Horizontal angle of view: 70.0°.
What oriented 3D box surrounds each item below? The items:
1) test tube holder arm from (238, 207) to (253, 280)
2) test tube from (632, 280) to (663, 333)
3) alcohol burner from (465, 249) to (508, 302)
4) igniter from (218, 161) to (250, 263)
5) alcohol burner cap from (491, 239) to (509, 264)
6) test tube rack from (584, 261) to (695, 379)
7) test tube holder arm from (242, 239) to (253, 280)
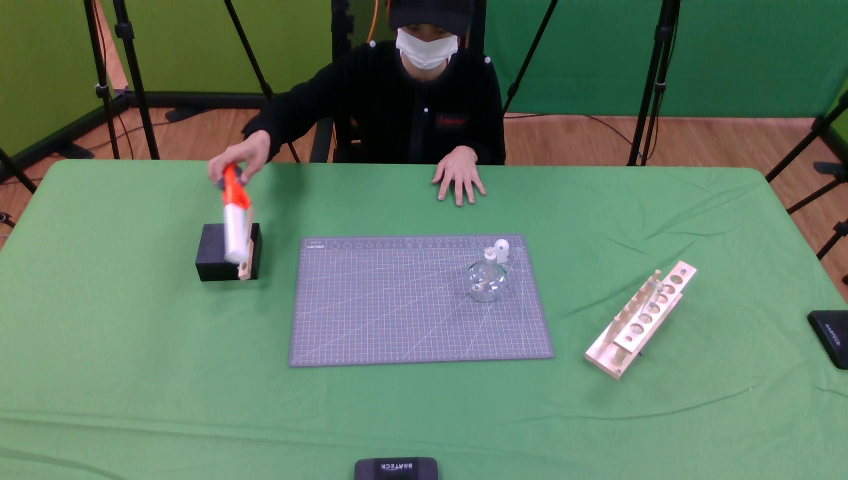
[{"bbox_3d":[-0.325,0.002,1.106,0.013,0.015,0.177,-10,46,-1],"label":"test tube holder arm"},{"bbox_3d":[0.363,0.121,0.997,0.017,0.151,0.017,2,44,-1],"label":"test tube"},{"bbox_3d":[0.114,0.057,1.085,0.078,0.120,0.077,2,48,-2],"label":"alcohol burner"},{"bbox_3d":[-0.323,-0.058,1.036,0.057,0.025,0.274,31,23,-36],"label":"igniter"},{"bbox_3d":[0.150,0.020,1.174,0.034,0.048,0.033,2,46,-2],"label":"alcohol burner cap"},{"bbox_3d":[0.380,0.127,1.062,0.066,0.085,0.242,34,53,26],"label":"test tube rack"},{"bbox_3d":[-0.313,0.033,1.075,0.010,0.015,0.087,-10,46,-1],"label":"test tube holder arm"}]
